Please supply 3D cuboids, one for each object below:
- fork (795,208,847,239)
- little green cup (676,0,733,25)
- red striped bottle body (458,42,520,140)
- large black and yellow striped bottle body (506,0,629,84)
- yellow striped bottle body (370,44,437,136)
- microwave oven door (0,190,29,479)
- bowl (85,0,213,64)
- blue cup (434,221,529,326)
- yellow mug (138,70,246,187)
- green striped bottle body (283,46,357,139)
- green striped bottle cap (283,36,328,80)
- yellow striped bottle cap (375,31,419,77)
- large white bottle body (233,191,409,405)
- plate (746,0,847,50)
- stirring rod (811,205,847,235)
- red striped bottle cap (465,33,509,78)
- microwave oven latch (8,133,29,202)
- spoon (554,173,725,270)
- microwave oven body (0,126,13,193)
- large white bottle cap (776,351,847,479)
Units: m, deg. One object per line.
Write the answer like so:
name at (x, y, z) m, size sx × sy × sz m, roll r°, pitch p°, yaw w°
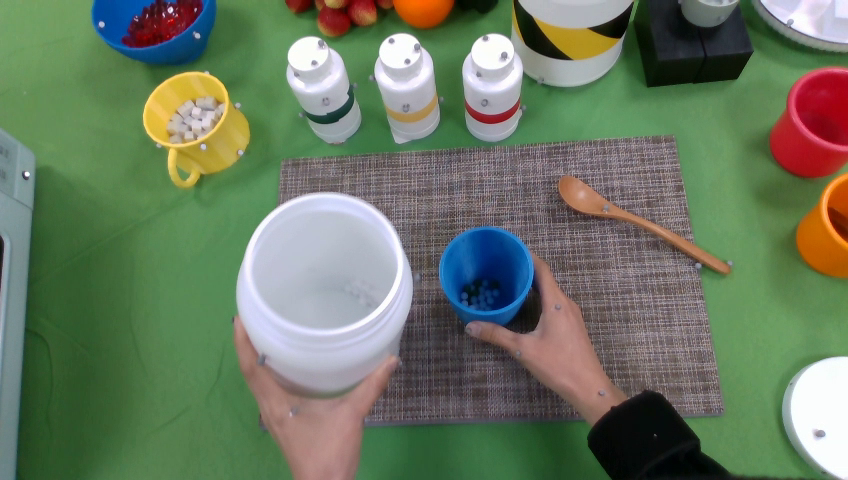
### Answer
fork at (0.430, 0.003, 0.537) m, size 0.028 × 0.205 × 0.019 m, roll -23°, pitch 113°, yaw -17°
little green cup at (0.306, -0.267, 0.659) m, size 0.061 × 0.039 × 0.061 m, roll -1°, pitch 67°, yaw 4°
red striped bottle body at (0.071, -0.165, 0.655) m, size 0.063 × 0.120 × 0.062 m, roll -4°, pitch 66°, yaw 9°
large black and yellow striped bottle body at (0.156, -0.272, 0.652) m, size 0.130 × 0.185 × 0.130 m, roll -2°, pitch 69°, yaw 5°
yellow striped bottle body at (-0.022, -0.171, 0.665) m, size 0.063 × 0.121 × 0.062 m, roll -2°, pitch 69°, yaw 7°
microwave oven door at (-0.452, 0.082, 0.527) m, size 0.039 × 0.245 × 0.353 m, roll -12°, pitch 68°, yaw 2°
bowl at (-0.328, -0.276, 0.760) m, size 0.151 × 0.077 × 0.150 m, roll -2°, pitch 69°, yaw 4°
blue cup at (0.056, 0.041, 0.583) m, size 0.092 × 0.101 × 0.092 m, roll -2°, pitch 68°, yaw 6°
yellow mug at (-0.271, -0.123, 0.701) m, size 0.100 × 0.064 × 0.130 m, roll 7°, pitch 70°, yaw 7°
green striped bottle body at (-0.116, -0.169, 0.675) m, size 0.063 × 0.120 × 0.062 m, roll -2°, pitch 68°, yaw 5°
green striped bottle cap at (-0.122, -0.188, 0.627) m, size 0.044 × 0.020 × 0.044 m, roll -2°, pitch 68°, yaw 4°
yellow striped bottle cap at (-0.028, -0.190, 0.618) m, size 0.044 × 0.019 × 0.044 m, roll -1°, pitch 70°, yaw 5°
large white bottle body at (-0.081, 0.052, 0.494) m, size 0.131 × 0.185 × 0.129 m, roll 3°, pitch 63°, yaw -6°
plate at (0.475, -0.306, 0.712) m, size 0.209 × 0.038 × 0.207 m, roll -2°, pitch 69°, yaw 5°
stirring rod at (0.402, 0.003, 0.548) m, size 0.014 × 0.006 × 0.175 m, roll -1°, pitch 26°, yaw 3°
red striped bottle cap at (0.064, -0.185, 0.606) m, size 0.044 × 0.018 × 0.044 m, roll -1°, pitch 67°, yaw 2°
microwave oven latch at (-0.480, -0.082, 0.701) m, size 0.030 × 0.030 × 0.078 m, roll -10°, pitch 69°, yaw 2°
spoon at (0.222, -0.018, 0.631) m, size 0.193 × 0.022 × 0.041 m, roll 28°, pitch 49°, yaw 14°
microwave oven body at (-0.602, 0.075, 0.550) m, size 0.326 × 0.262 × 0.438 m, roll -12°, pitch 69°, yaw 1°
large white bottle cap at (0.386, 0.159, 0.554) m, size 0.115 × 0.018 × 0.114 m, roll -2°, pitch 68°, yaw 5°
